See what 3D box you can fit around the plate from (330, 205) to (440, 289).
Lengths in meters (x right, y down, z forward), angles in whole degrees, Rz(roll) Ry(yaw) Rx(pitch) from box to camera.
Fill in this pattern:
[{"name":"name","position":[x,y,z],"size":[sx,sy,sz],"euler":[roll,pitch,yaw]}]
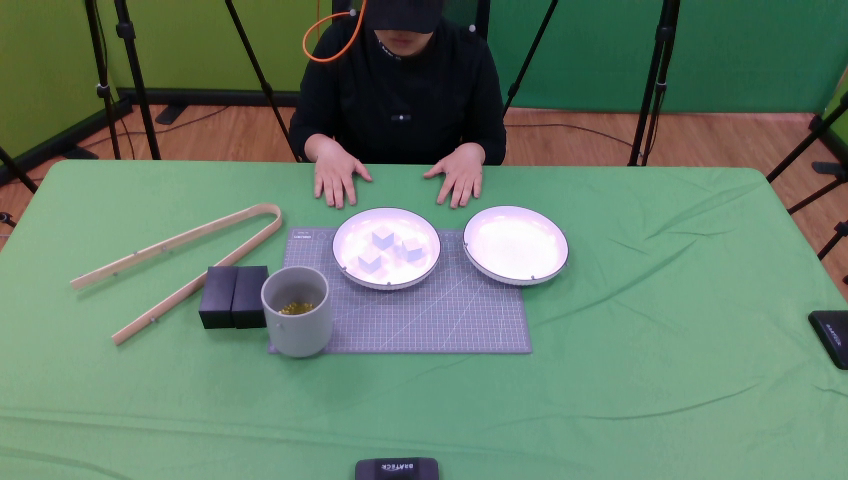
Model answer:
[{"name":"plate","position":[-0.074,0.017,1.161],"size":[0.208,0.039,0.206],"euler":[2,46,-2]}]

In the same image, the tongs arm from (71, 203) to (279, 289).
[{"name":"tongs arm","position":[-0.454,0.011,1.145],"size":[0.385,0.026,0.050],"euler":[-29,54,-29]}]

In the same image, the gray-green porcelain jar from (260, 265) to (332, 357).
[{"name":"gray-green porcelain jar","position":[-0.205,0.121,0.990],"size":[0.106,0.127,0.105],"euler":[2,46,-2]}]

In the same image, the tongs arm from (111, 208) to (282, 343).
[{"name":"tongs arm","position":[-0.397,0.056,1.108],"size":[0.028,0.028,0.387],"euler":[27,50,25]}]

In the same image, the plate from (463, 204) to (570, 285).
[{"name":"plate","position":[0.178,0.011,1.184],"size":[0.209,0.038,0.208],"euler":[3,46,-3]}]
